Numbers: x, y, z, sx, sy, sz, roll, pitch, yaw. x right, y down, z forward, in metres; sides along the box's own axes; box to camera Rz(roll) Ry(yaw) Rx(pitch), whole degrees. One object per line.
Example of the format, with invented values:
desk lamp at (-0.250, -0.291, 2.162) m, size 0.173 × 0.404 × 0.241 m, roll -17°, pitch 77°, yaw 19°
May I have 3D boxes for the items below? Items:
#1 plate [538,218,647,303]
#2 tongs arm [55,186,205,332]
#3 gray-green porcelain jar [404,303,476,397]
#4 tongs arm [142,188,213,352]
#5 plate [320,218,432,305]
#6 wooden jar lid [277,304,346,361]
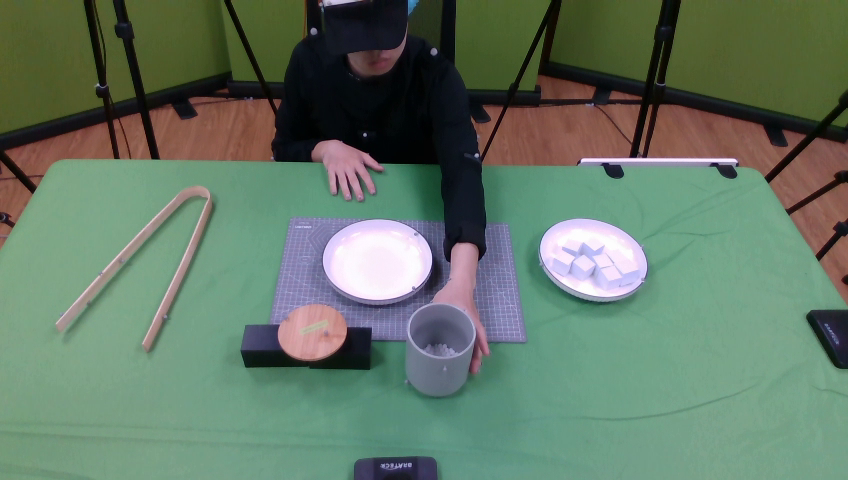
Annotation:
plate at (0.322, 0.042, 1.171) m, size 0.208 × 0.039 × 0.206 m, roll 2°, pitch 46°, yaw -2°
tongs arm at (-0.530, 0.022, 1.126) m, size 0.051 × 0.026 × 0.383 m, roll 15°, pitch 46°, yaw 8°
gray-green porcelain jar at (0.022, 0.178, 0.956) m, size 0.106 × 0.127 × 0.105 m, roll 2°, pitch 46°, yaw -2°
tongs arm at (-0.450, 0.040, 1.122) m, size 0.028 × 0.028 × 0.385 m, roll 2°, pitch 46°, yaw 1°
plate at (-0.089, 0.044, 1.134) m, size 0.209 × 0.038 × 0.208 m, roll 3°, pitch 46°, yaw -2°
wooden jar lid at (-0.179, 0.150, 0.972) m, size 0.108 × 0.021 × 0.107 m, roll 2°, pitch 45°, yaw -2°
